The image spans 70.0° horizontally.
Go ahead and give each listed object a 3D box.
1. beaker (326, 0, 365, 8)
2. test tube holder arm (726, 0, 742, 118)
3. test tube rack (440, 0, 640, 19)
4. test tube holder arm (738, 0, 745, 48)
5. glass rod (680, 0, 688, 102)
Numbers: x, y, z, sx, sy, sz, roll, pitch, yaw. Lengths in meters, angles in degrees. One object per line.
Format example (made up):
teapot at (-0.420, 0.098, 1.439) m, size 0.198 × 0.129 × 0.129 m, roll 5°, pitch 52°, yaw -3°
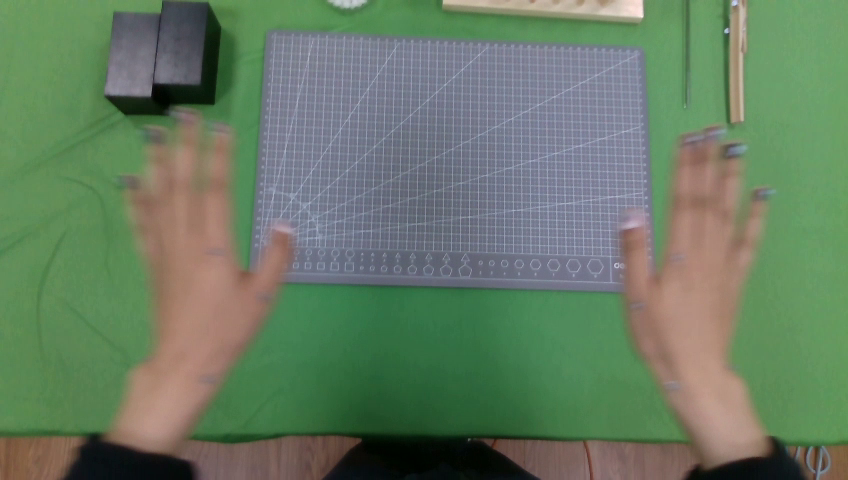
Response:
beaker at (-0.092, -0.316, 0.683) m, size 0.074 × 0.100 × 0.083 m, roll 4°, pitch 79°, yaw -2°
test tube holder arm at (0.373, -0.232, 0.729) m, size 0.013 × 0.015 × 0.177 m, roll 15°, pitch 77°, yaw -29°
test tube rack at (0.143, -0.317, 0.702) m, size 0.242 × 0.085 × 0.066 m, roll 3°, pitch 79°, yaw -2°
test tube holder arm at (0.384, -0.274, 0.741) m, size 0.010 × 0.015 × 0.087 m, roll 15°, pitch 77°, yaw -29°
glass rod at (0.318, -0.261, 0.740) m, size 0.008 × 0.008 × 0.199 m, roll 6°, pitch 79°, yaw -2°
